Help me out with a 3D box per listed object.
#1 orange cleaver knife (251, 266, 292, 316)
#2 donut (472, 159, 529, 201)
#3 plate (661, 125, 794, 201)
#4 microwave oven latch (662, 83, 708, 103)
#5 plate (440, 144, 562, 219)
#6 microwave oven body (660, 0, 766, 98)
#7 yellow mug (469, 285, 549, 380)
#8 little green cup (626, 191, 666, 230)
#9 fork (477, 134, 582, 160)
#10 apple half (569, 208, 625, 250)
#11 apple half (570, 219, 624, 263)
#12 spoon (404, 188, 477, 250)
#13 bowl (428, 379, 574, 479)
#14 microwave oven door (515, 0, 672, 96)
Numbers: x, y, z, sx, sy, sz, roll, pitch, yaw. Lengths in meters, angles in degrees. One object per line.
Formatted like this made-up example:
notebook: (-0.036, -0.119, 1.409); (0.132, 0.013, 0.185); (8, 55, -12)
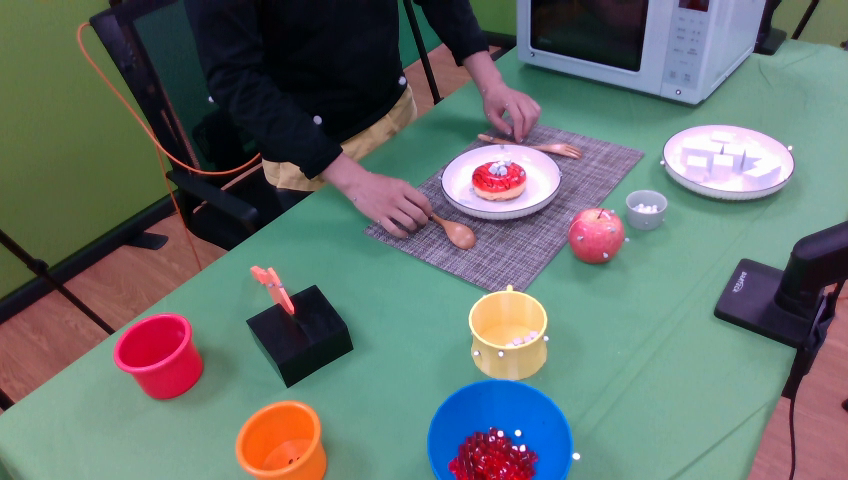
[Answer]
orange cleaver knife: (-0.221, 0.071, 0.873); (0.012, 0.077, 0.210); (-25, 11, -21)
donut: (0.132, -0.105, 1.043); (0.099, 0.048, 0.098); (-5, 38, 4)
plate: (0.513, -0.128, 1.035); (0.207, 0.039, 0.206); (-4, 40, 4)
microwave oven latch: (0.518, -0.296, 1.204); (0.078, 0.029, 0.030); (27, 52, 35)
plate: (0.134, -0.098, 1.051); (0.209, 0.038, 0.208); (-4, 40, 4)
microwave oven body: (0.472, -0.513, 1.317); (0.438, 0.261, 0.327); (26, 51, 34)
yellow mug: (0.112, 0.112, 0.792); (0.100, 0.064, 0.130); (0, 40, 9)
little green cup: (0.352, -0.046, 0.963); (0.061, 0.039, 0.061); (-4, 40, 4)
fork: (0.198, -0.181, 1.156); (0.206, 0.019, 0.028); (13, 54, 22)
apple half: (0.262, -0.014, 0.913); (0.080, 0.075, 0.053); (4, 37, 20)
apple half: (0.250, 0.010, 0.885); (0.081, 0.081, 0.033); (7, 39, 17)
spoon: (0.021, -0.039, 1.019); (0.042, 0.022, 0.192); (-30, 45, -22)
bowl: (0.082, 0.233, 0.644); (0.151, 0.077, 0.150); (-4, 39, 4)
microwave oven door: (0.343, -0.455, 1.259); (0.353, 0.245, 0.039); (26, 51, 33)
